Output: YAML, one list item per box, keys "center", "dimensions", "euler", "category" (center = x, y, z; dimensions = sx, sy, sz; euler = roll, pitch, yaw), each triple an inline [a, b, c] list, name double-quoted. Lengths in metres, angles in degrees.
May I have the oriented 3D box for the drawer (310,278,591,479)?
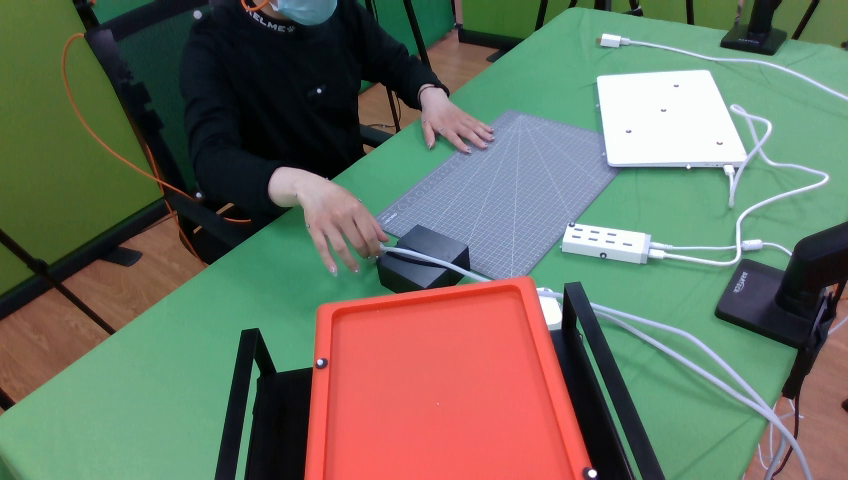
- center: [0.013, 0.137, 0.489]
  dimensions: [0.195, 0.073, 0.210]
  euler: [-7, 41, 0]
  category: "drawer"

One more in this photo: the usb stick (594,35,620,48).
- center: [0.443, -0.482, 1.466]
  dimensions: [0.059, 0.021, 0.027]
  euler: [9, 42, 9]
  category: "usb stick"

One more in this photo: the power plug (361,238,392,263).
- center: [-0.070, 0.023, 0.930]
  dimensions: [0.072, 0.053, 0.035]
  euler: [30, 81, 42]
  category: "power plug"

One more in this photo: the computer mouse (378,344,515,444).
- center: [0.018, 0.126, 0.520]
  dimensions: [0.116, 0.041, 0.063]
  euler: [13, 47, 29]
  category: "computer mouse"

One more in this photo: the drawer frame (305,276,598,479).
- center: [0.014, 0.137, 0.486]
  dimensions: [0.202, 0.083, 0.212]
  euler: [-8, 41, -1]
  category: "drawer frame"

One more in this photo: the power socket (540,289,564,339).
- center: [0.080, 0.112, 0.822]
  dimensions: [0.227, 0.033, 0.072]
  euler: [-7, 41, -1]
  category: "power socket"

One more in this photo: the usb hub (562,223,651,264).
- center: [0.279, 0.005, 0.926]
  dimensions: [0.124, 0.025, 0.049]
  euler: [10, 43, 19]
  category: "usb hub"

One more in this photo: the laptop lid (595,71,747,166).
- center: [0.465, -0.248, 1.181]
  dimensions: [0.241, 0.013, 0.355]
  euler: [1, 41, 12]
  category: "laptop lid"

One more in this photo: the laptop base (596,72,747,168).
- center: [0.469, -0.238, 1.189]
  dimensions: [0.235, 0.023, 0.353]
  euler: [-1, 40, 11]
  category: "laptop base"
